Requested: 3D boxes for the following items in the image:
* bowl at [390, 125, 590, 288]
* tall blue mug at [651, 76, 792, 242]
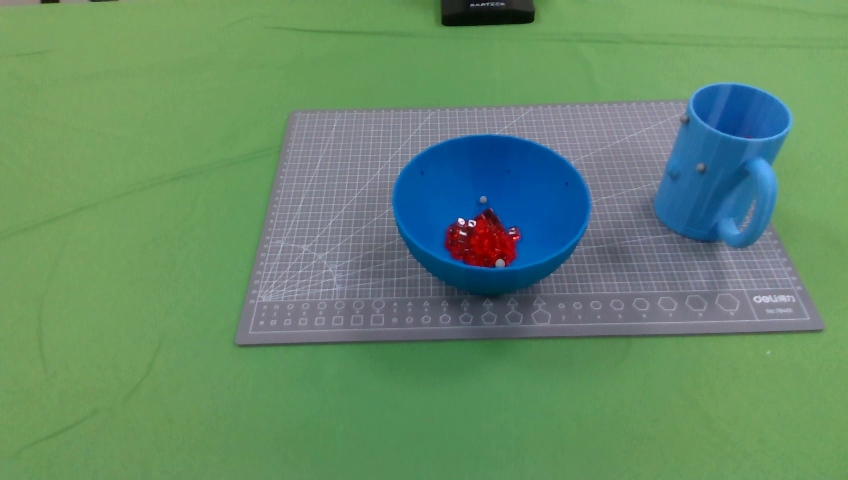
[{"bbox_3d":[0.050,-0.014,0.482,0.151,0.077,0.150,-1,48,1],"label":"bowl"},{"bbox_3d":[0.250,-0.059,0.496,0.078,0.109,0.106,-27,53,-21],"label":"tall blue mug"}]
